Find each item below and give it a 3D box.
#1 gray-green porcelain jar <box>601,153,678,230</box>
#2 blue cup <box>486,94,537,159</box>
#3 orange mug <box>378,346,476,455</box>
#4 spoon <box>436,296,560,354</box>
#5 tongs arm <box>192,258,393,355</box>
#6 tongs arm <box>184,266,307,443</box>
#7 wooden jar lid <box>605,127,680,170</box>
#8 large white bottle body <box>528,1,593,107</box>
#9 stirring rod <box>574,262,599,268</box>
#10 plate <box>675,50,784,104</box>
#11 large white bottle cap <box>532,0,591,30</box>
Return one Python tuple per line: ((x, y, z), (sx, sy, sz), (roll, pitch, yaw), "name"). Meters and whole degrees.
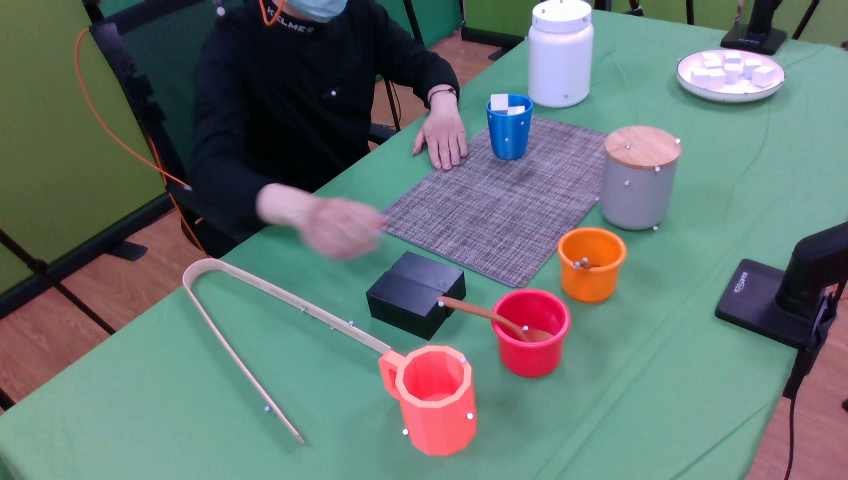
((0.334, -0.087, 0.949), (0.106, 0.127, 0.105), (-4, 40, 4), "gray-green porcelain jar")
((0.160, -0.208, 1.129), (0.092, 0.100, 0.092), (-4, 39, 4), "blue cup")
((0.002, 0.179, 0.709), (0.125, 0.101, 0.083), (25, 50, 27), "orange mug")
((0.095, 0.102, 0.750), (0.195, 0.021, 0.041), (28, 31, -28), "spoon")
((-0.204, 0.099, 0.881), (0.382, 0.027, 0.051), (23, 55, 32), "tongs arm")
((-0.260, 0.146, 0.842), (0.028, 0.028, 0.384), (-37, 48, -18), "tongs arm")
((0.327, -0.134, 0.909), (0.108, 0.021, 0.108), (-2, 43, 2), "wooden jar lid")
((0.283, -0.386, 1.259), (0.130, 0.185, 0.130), (-5, 41, 4), "large white bottle body")
((0.221, 0.033, 0.817), (0.014, 0.006, 0.177), (9, 1, 22), "stirring rod")
((0.631, -0.336, 1.262), (0.207, 0.039, 0.206), (-4, 41, 4), "plate")
((0.274, -0.450, 1.204), (0.115, 0.018, 0.114), (-4, 41, 4), "large white bottle cap")
